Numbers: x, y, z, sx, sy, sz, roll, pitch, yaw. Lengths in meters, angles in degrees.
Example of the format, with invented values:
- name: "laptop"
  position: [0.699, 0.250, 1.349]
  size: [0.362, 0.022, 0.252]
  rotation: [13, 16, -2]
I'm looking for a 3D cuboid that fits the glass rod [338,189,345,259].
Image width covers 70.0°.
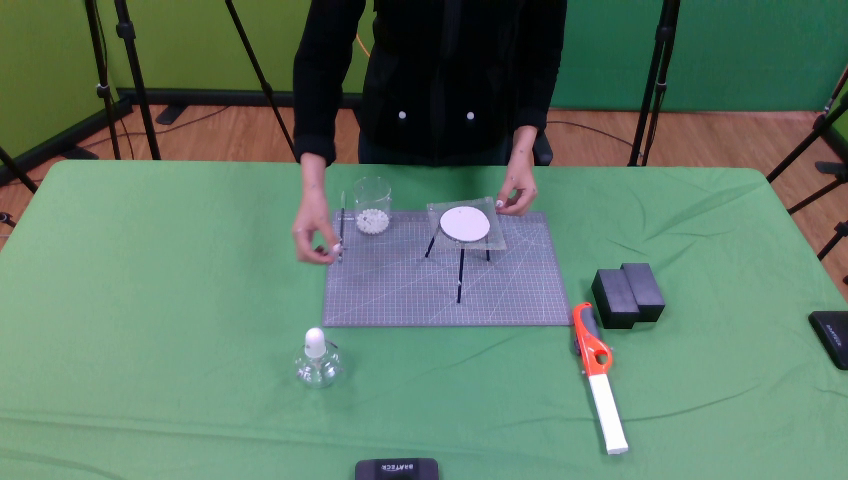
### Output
- name: "glass rod"
  position: [-0.167, -0.037, 1.226]
  size: [0.008, 0.008, 0.198]
  rotation: [-1, 47, -4]

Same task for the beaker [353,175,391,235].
- name: "beaker"
  position: [-0.104, -0.065, 1.196]
  size: [0.074, 0.101, 0.084]
  rotation: [24, 50, 18]

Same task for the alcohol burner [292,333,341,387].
- name: "alcohol burner"
  position: [-0.170, 0.179, 0.950]
  size: [0.078, 0.120, 0.077]
  rotation: [2, 48, -2]

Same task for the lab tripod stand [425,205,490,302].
- name: "lab tripod stand"
  position: [0.069, 0.017, 1.105]
  size: [0.148, 0.132, 0.147]
  rotation: [3, 47, -3]

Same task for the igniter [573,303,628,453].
- name: "igniter"
  position: [0.288, 0.217, 1.006]
  size: [0.057, 0.025, 0.274]
  rotation: [-10, 46, 8]

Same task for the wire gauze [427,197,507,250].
- name: "wire gauze"
  position: [0.073, -0.028, 1.055]
  size: [0.125, 0.011, 0.120]
  rotation: [-3, 48, -7]

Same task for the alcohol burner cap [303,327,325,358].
- name: "alcohol burner cap"
  position: [-0.169, 0.154, 0.924]
  size: [0.034, 0.048, 0.033]
  rotation: [4, 41, -3]
